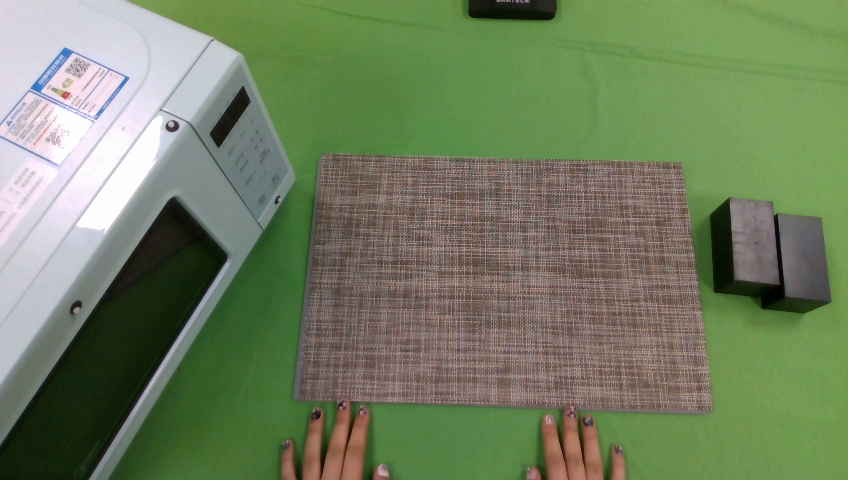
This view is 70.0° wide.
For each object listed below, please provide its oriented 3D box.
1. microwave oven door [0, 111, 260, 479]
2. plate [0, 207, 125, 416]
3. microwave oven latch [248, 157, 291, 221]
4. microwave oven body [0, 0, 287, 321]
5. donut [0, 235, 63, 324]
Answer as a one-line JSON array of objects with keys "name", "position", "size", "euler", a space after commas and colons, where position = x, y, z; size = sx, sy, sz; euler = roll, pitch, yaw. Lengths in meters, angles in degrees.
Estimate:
[{"name": "microwave oven door", "position": [-0.281, 0.086, 0.541], "size": [0.039, 0.245, 0.354], "euler": [25, 72, 9]}, {"name": "plate", "position": [-0.389, 0.069, 0.595], "size": [0.209, 0.038, 0.207], "euler": [-2, 68, 6]}, {"name": "microwave oven latch", "position": [-0.184, -0.063, 0.703], "size": [0.030, 0.029, 0.079], "euler": [25, 73, 7]}, {"name": "microwave oven body", "position": [-0.395, -0.009, 0.578], "size": [0.325, 0.261, 0.440], "euler": [25, 73, 7]}, {"name": "donut", "position": [-0.416, 0.039, 0.610], "size": [0.099, 0.048, 0.098], "euler": [2, 55, -3]}]
